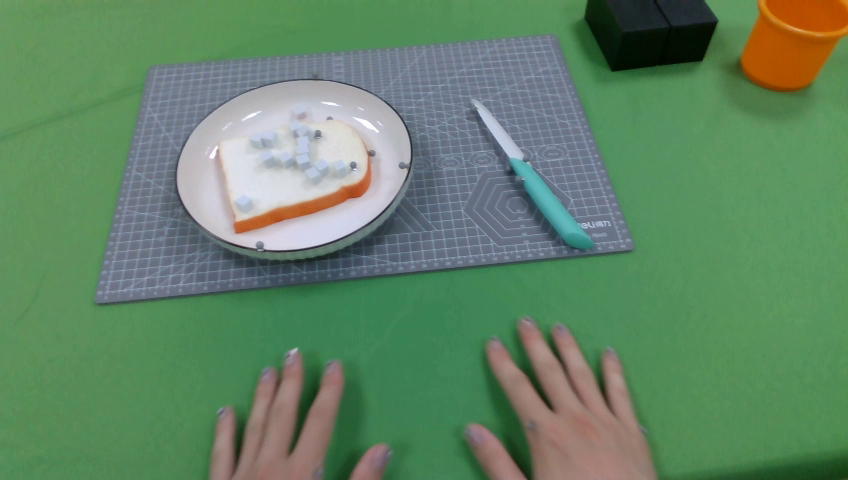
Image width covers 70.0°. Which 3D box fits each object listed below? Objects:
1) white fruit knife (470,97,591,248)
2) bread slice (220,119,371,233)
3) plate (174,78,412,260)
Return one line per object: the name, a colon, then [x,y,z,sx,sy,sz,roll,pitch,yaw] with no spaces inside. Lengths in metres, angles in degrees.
white fruit knife: [0.090,-0.071,0.563,0.027,0.016,0.205,1,46,-36]
bread slice: [-0.116,-0.068,0.552,0.132,0.019,0.104,-18,56,-11]
plate: [-0.114,-0.065,0.547,0.209,0.038,0.207,0,55,0]
